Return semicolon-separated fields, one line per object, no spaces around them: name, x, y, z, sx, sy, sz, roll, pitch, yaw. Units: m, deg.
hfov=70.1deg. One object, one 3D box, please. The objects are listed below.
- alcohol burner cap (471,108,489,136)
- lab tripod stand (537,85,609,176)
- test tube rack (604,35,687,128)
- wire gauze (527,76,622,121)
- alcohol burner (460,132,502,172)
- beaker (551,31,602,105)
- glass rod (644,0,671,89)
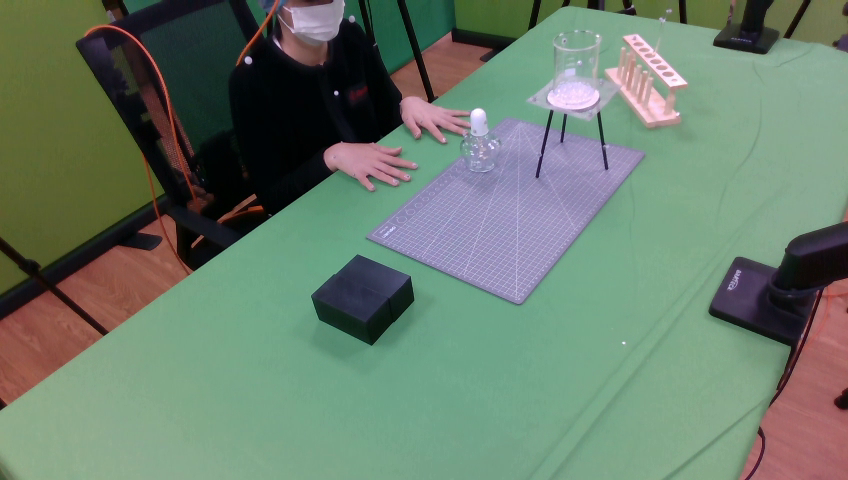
alcohol burner cap;0.098;-0.211;1.074;0.034;0.048;0.033;-6;42;6
lab tripod stand;0.259;-0.192;1.068;0.148;0.132;0.147;-4;42;4
test tube rack;0.447;-0.330;1.241;0.067;0.085;0.241;-9;41;-2
wire gauze;0.255;-0.247;1.031;0.124;0.011;0.122;23;49;34
alcohol burner;0.102;-0.185;1.098;0.078;0.119;0.077;-6;40;5
beaker;0.252;-0.283;0.998;0.084;0.101;0.073;-16;42;-7
glass rod;0.463;-0.387;1.204;0.008;0.200;0.008;0;47;1
